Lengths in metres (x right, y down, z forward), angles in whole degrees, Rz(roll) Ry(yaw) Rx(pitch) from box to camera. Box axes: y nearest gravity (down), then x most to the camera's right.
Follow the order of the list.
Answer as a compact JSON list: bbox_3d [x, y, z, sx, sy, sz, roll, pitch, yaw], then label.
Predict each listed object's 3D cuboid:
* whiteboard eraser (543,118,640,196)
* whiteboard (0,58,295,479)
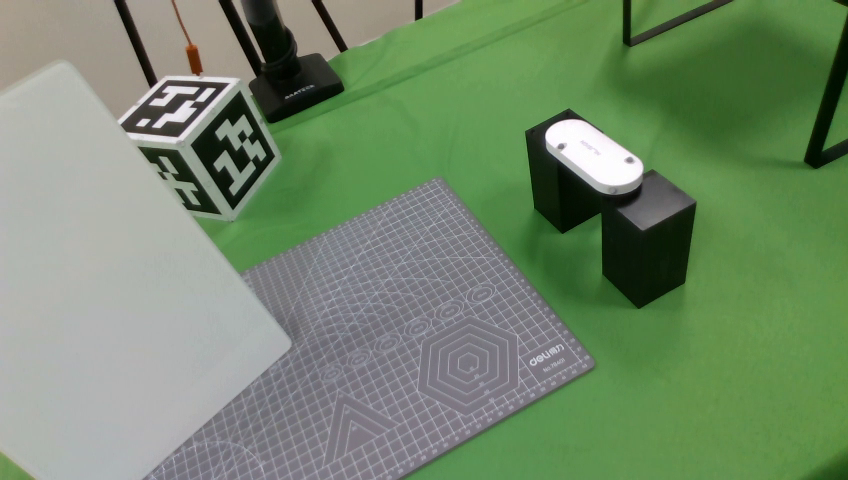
[{"bbox_3d":[0.139,-0.072,0.509,0.041,0.019,0.100,-28,47,-11],"label":"whiteboard eraser"},{"bbox_3d":[-0.301,0.041,0.515,0.217,0.308,0.142,-42,31,-21],"label":"whiteboard"}]
